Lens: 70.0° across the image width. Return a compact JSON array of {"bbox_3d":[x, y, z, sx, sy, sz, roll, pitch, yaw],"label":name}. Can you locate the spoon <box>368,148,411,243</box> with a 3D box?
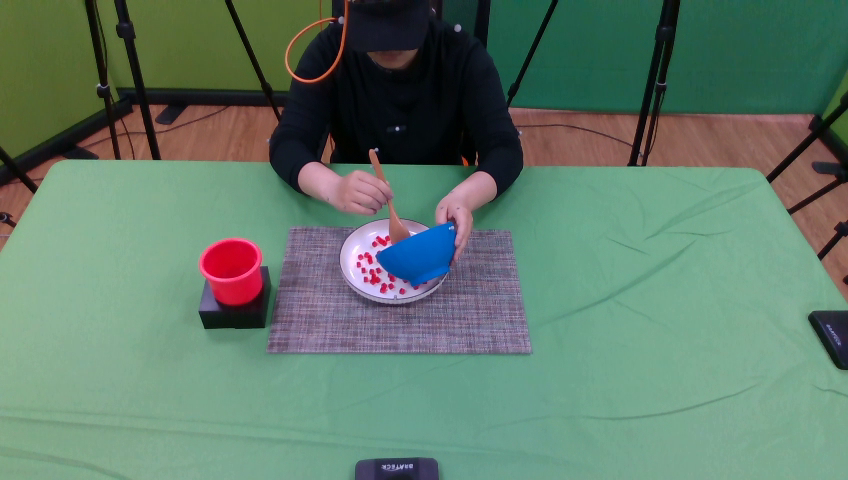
[{"bbox_3d":[-0.065,-0.073,1.086,0.041,0.194,0.021,-12,18,19],"label":"spoon"}]

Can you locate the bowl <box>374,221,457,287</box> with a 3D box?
[{"bbox_3d":[-0.003,0.032,1.055,0.151,0.151,0.076,-21,85,-22],"label":"bowl"}]

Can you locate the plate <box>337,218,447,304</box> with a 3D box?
[{"bbox_3d":[-0.058,0.042,1.136,0.208,0.039,0.206,2,46,-2],"label":"plate"}]
